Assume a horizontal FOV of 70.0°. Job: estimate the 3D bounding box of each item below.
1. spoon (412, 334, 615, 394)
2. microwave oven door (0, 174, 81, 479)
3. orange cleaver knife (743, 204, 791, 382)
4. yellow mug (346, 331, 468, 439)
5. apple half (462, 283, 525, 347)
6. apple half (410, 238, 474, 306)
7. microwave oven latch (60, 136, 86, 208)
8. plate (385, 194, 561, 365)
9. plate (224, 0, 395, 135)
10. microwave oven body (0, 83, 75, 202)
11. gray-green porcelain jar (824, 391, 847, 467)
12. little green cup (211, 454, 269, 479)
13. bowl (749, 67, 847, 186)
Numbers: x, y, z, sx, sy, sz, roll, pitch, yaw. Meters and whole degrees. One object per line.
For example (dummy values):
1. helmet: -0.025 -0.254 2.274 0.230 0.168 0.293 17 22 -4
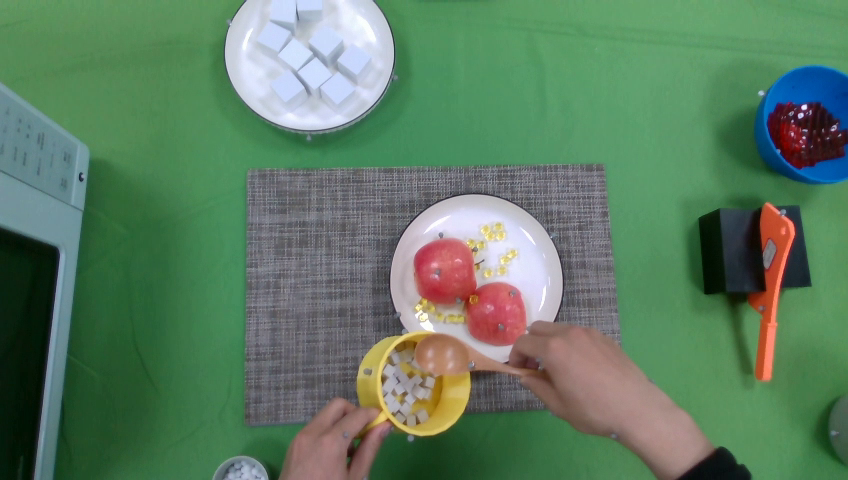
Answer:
1. spoon: 0.083 0.125 0.578 0.193 0.022 0.041 10 91 14
2. microwave oven door: -0.407 0.118 0.555 0.039 0.244 0.354 1 79 -4
3. orange cleaver knife: 0.405 0.065 0.728 0.012 0.077 0.212 0 103 0
4. yellow mug: -0.025 0.153 0.604 0.131 0.064 0.100 -37 95 -26
5. apple half: 0.083 0.088 0.712 0.081 0.033 0.081 1 77 -3
6. apple half: 0.021 0.036 0.706 0.075 0.053 0.080 -4 81 -3
7. microwave oven latch: -0.408 -0.078 0.693 0.030 0.029 0.079 3 80 -4
8. plate: 0.057 0.049 0.722 0.209 0.038 0.208 1 80 -5
9. plate: -0.141 -0.227 0.760 0.208 0.039 0.207 1 80 -4
10. microwave oven body: -0.552 0.073 0.556 0.326 0.260 0.440 2 80 -5
11. gray-green porcelain jar: 0.539 0.223 0.688 0.106 0.127 0.105 1 79 -4
12. little green cup: -0.200 0.266 0.666 0.061 0.038 0.061 1 81 -6
13. bowl: 0.475 -0.133 0.771 0.151 0.077 0.151 1 80 -4
